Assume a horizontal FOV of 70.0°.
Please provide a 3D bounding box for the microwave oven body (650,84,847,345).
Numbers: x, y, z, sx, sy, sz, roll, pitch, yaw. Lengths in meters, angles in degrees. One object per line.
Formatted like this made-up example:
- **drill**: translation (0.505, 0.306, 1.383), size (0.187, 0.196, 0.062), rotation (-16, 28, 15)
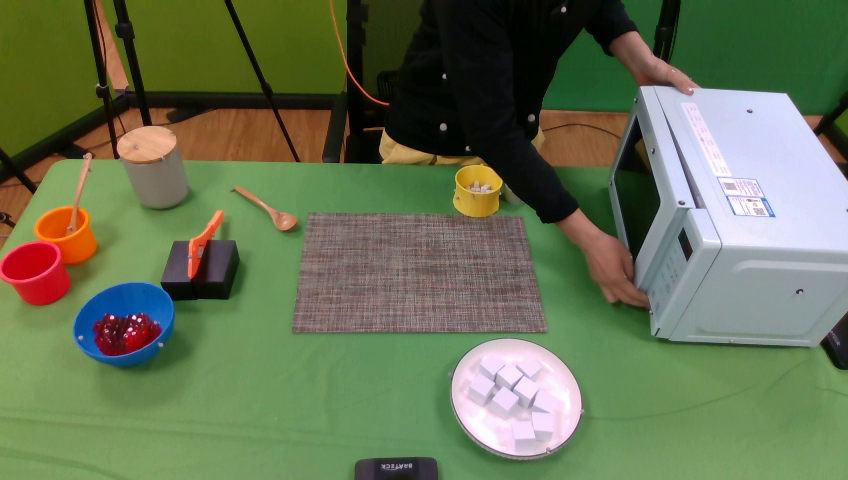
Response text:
- **microwave oven body**: translation (0.568, -0.054, 1.115), size (0.326, 0.261, 0.439), rotation (2, 46, -1)

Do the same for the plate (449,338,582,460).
- **plate**: translation (0.141, 0.251, 0.955), size (0.208, 0.039, 0.206), rotation (2, 46, -2)

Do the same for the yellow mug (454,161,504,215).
- **yellow mug**: translation (0.117, -0.119, 1.283), size (0.100, 0.064, 0.130), rotation (9, 43, 5)

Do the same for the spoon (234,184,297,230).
- **spoon**: translation (-0.327, -0.073, 1.240), size (0.193, 0.022, 0.041), rotation (34, 71, 25)

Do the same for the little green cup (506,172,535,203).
- **little green cup**: translation (0.205, -0.112, 1.301), size (0.061, 0.039, 0.061), rotation (5, 47, -5)

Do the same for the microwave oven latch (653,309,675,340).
- **microwave oven latch**: translation (0.417, 0.135, 1.057), size (0.030, 0.029, 0.079), rotation (11, 46, 8)

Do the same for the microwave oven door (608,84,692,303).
- **microwave oven door**: translation (0.414, -0.096, 1.138), size (0.039, 0.245, 0.353), rotation (5, 46, 1)

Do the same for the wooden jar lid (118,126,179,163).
- **wooden jar lid**: translation (-0.528, -0.181, 1.167), size (0.108, 0.021, 0.107), rotation (4, 48, -4)

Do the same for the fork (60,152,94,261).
- **fork**: translation (-0.638, -0.063, 1.120), size (0.028, 0.018, 0.207), rotation (12, 90, 5)

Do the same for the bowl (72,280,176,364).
- **bowl**: translation (-0.473, 0.147, 0.982), size (0.151, 0.077, 0.150), rotation (2, 46, -2)

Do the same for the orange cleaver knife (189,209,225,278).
- **orange cleaver knife**: translation (-0.401, 0.002, 1.122), size (0.012, 0.077, 0.210), rotation (4, 23, -4)

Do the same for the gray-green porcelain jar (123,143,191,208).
- **gray-green porcelain jar**: translation (-0.531, -0.137, 1.213), size (0.106, 0.127, 0.105), rotation (2, 47, -2)
